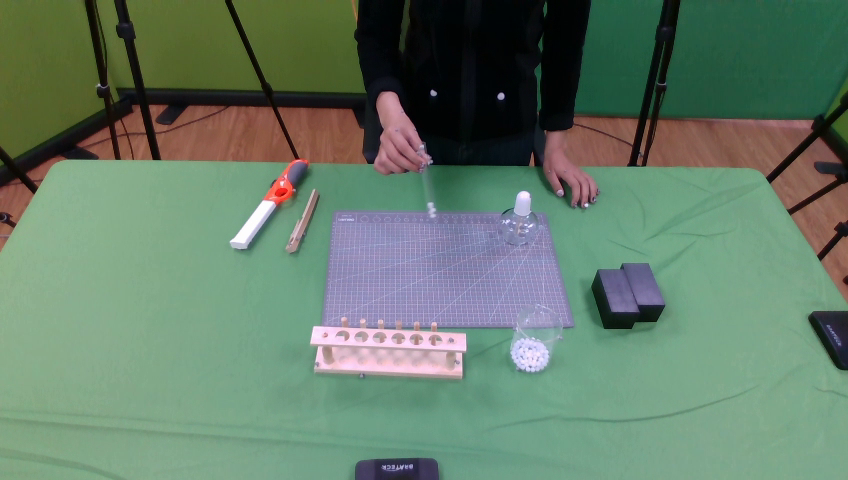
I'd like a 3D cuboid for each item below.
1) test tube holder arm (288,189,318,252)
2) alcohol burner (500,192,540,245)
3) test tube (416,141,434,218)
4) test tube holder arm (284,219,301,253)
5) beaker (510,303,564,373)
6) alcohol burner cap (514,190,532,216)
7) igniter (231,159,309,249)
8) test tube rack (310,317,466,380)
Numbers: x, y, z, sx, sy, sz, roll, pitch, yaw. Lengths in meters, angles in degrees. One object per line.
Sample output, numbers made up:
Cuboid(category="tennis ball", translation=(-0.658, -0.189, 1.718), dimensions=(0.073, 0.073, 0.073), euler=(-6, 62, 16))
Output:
Cuboid(category="test tube holder arm", translation=(-0.242, -0.043, 1.223), dimensions=(0.013, 0.015, 0.177), euler=(-14, 39, 25))
Cuboid(category="alcohol burner", translation=(0.190, -0.048, 1.190), dimensions=(0.078, 0.120, 0.077), euler=(1, 47, -1))
Cuboid(category="test tube", translation=(0.002, -0.105, 1.084), dimensions=(0.017, 0.151, 0.017), euler=(-5, 32, 4))
Cuboid(category="test tube holder arm", translation=(-0.254, -0.010, 1.194), dimensions=(0.010, 0.015, 0.087), euler=(-14, 39, 26))
Cuboid(category="beaker", translation=(0.182, 0.164, 1.000), dimensions=(0.074, 0.101, 0.083), euler=(2, 45, -1))
Cuboid(category="alcohol burner cap", translation=(0.192, -0.074, 1.166), dimensions=(0.034, 0.048, 0.033), euler=(1, 41, -1))
Cuboid(category="igniter", translation=(-0.313, -0.082, 1.251), dimensions=(0.057, 0.025, 0.275), euler=(8, 45, 18))
Cuboid(category="test tube rack", translation=(-0.056, 0.171, 0.987), dimensions=(0.242, 0.085, 0.066), euler=(3, 45, -1))
